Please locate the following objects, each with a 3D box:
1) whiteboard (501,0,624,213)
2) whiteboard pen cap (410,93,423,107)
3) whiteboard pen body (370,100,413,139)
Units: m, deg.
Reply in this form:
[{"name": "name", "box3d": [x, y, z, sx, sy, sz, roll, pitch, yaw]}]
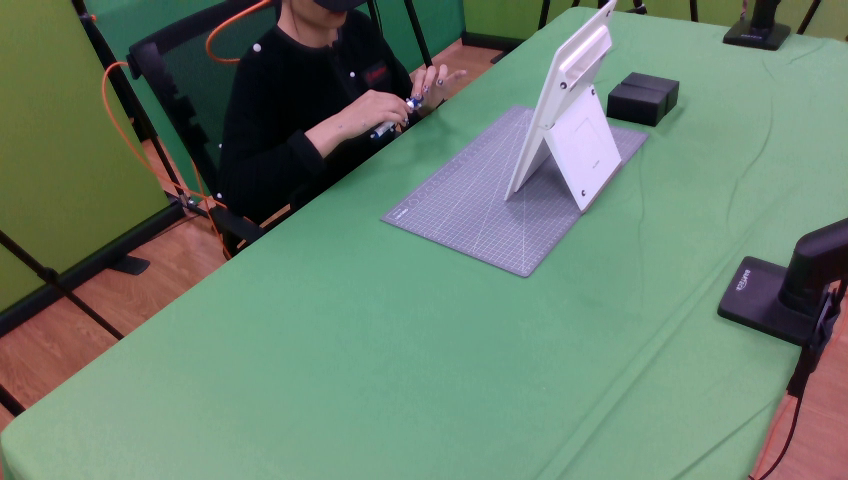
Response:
[{"name": "whiteboard", "box3d": [0.271, -0.189, 0.977, 0.143, 0.306, 0.218, 34, 53, 16]}, {"name": "whiteboard pen cap", "box3d": [-0.018, -0.275, 1.189, 0.018, 0.018, 0.033, 23, 54, 32]}, {"name": "whiteboard pen body", "box3d": [-0.054, -0.238, 1.159, 0.017, 0.017, 0.141, 22, 55, 32]}]
